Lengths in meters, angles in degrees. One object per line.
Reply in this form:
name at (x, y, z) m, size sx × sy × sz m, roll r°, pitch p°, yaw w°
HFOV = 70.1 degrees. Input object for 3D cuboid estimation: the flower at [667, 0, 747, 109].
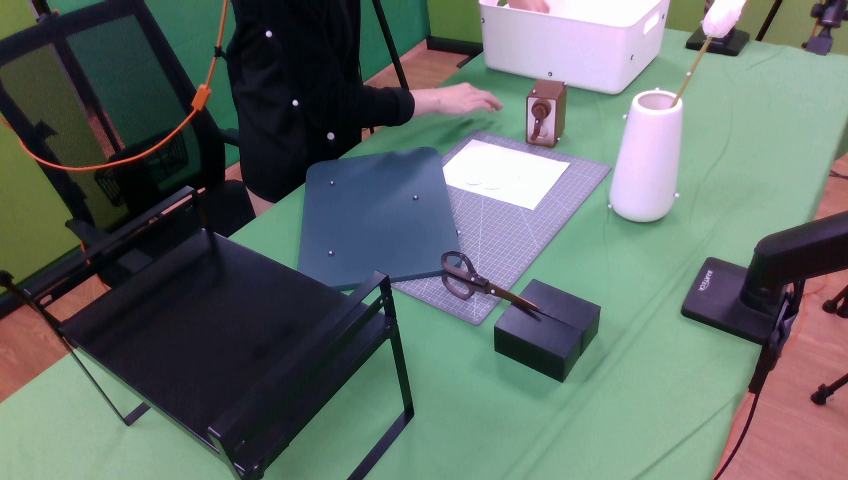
flower at (0.354, -0.187, 0.879) m, size 0.038 × 0.362 × 0.044 m, roll 31°, pitch 48°, yaw 14°

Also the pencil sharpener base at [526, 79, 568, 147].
pencil sharpener base at (0.235, -0.242, 1.160) m, size 0.061 × 0.107 × 0.077 m, roll 12°, pitch 45°, yaw 21°

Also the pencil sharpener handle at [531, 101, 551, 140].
pencil sharpener handle at (0.211, -0.220, 1.118) m, size 0.036 × 0.068 × 0.030 m, roll 17°, pitch 46°, yaw 17°

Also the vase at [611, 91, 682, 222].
vase at (0.348, -0.125, 0.935) m, size 0.098 × 0.201 × 0.097 m, roll -3°, pitch 40°, yaw 3°

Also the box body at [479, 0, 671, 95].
box body at (0.339, -0.480, 1.381) m, size 0.361 × 0.161 × 0.255 m, roll 22°, pitch 48°, yaw 30°

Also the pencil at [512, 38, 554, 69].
pencil at (0.264, -0.453, 1.468) m, size 0.012 × 0.012 × 0.194 m, roll 24°, pitch 49°, yaw 31°

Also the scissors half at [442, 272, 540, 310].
scissors half at (0.089, 0.074, 0.832) m, size 0.013 × 0.040 × 0.173 m, roll -24°, pitch 23°, yaw -38°

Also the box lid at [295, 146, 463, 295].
box lid at (-0.084, -0.048, 1.052) m, size 0.263 × 0.015 × 0.369 m, roll -9°, pitch 40°, yaw 0°

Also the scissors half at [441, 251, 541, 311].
scissors half at (0.087, 0.056, 0.824) m, size 0.173 × 0.040 × 0.013 m, roll 29°, pitch 44°, yaw 36°
